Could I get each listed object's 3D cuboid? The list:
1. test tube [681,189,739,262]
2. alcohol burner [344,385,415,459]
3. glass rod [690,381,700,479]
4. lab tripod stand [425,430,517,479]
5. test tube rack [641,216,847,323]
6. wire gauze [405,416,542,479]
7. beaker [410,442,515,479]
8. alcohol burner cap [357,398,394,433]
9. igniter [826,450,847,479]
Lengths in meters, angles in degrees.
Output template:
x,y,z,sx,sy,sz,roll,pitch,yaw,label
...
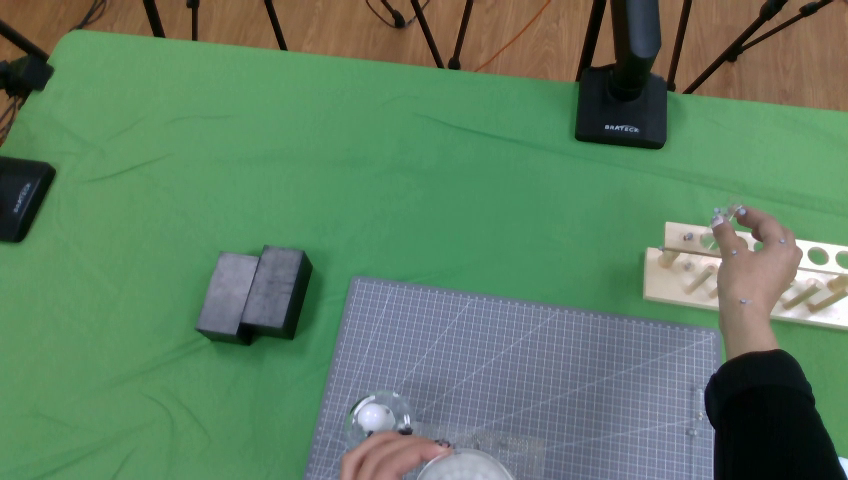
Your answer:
x,y,z,sx,sy,sz,roll,pitch,yaw,label
0.315,-0.012,0.675,0.017,0.151,0.017,-2,63,4,test tube
-0.048,0.188,0.640,0.078,0.120,0.077,-1,64,2,alcohol burner
0.291,0.252,0.654,0.008,0.008,0.198,9,70,6,glass rod
0.044,0.254,0.596,0.148,0.132,0.147,-2,65,4,lab tripod stand
0.388,0.035,0.705,0.242,0.086,0.066,8,67,6,test tube rack
0.041,0.223,0.536,0.125,0.011,0.120,5,65,5,wire gauze
0.032,0.198,0.458,0.084,0.101,0.073,-2,63,2,beaker
-0.050,0.175,0.606,0.034,0.048,0.033,-3,69,8,alcohol burner cap
0.409,0.350,0.599,0.057,0.025,0.275,19,69,0,igniter
